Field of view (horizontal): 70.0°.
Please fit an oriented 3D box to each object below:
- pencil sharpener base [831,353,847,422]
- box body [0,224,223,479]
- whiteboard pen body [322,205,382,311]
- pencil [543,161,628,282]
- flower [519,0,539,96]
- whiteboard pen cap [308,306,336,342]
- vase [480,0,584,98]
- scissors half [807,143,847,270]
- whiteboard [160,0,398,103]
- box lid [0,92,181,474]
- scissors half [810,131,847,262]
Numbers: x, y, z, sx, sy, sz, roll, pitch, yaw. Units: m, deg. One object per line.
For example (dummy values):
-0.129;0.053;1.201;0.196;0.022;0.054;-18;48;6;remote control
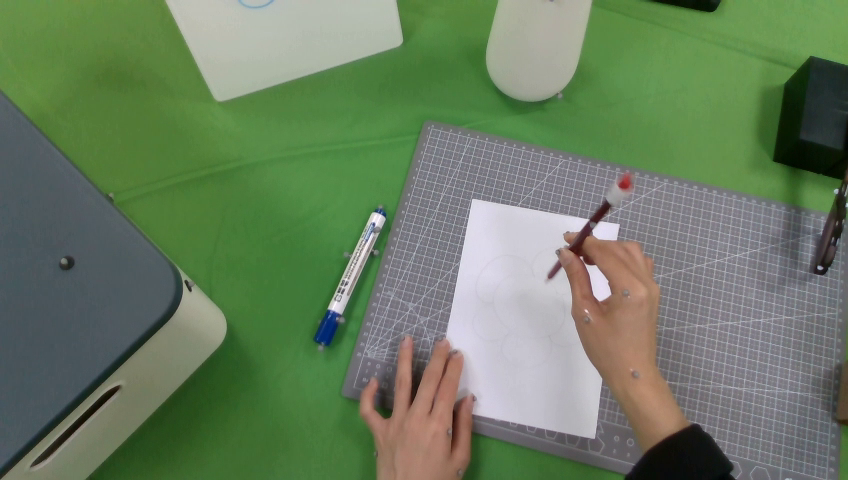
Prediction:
0.416;0.130;0.512;0.076;0.107;0.061;18;72;3;pencil sharpener base
-0.386;0.032;0.515;0.362;0.161;0.254;40;76;12;box body
-0.074;0.027;0.592;0.017;0.017;0.140;21;71;7;whiteboard pen body
0.122;-0.005;0.487;0.012;0.195;0.012;2;62;-4;pencil
0.103;-0.265;0.506;0.044;0.365;0.038;7;54;6;flower
-0.095;0.079;0.573;0.018;0.018;0.033;20;69;7;whiteboard pen cap
0.107;-0.224;0.581;0.098;0.201;0.097;0;70;1;vase
0.401;-0.055;0.589;0.012;0.040;0.175;16;91;30;scissors half
-0.170;-0.327;0.590;0.217;0.308;0.142;-19;53;-6;whiteboard
-0.388;0.006;0.444;0.370;0.015;0.263;40;76;12;box lid
0.392;-0.060;0.571;0.013;0.040;0.174;16;74;24;scissors half
